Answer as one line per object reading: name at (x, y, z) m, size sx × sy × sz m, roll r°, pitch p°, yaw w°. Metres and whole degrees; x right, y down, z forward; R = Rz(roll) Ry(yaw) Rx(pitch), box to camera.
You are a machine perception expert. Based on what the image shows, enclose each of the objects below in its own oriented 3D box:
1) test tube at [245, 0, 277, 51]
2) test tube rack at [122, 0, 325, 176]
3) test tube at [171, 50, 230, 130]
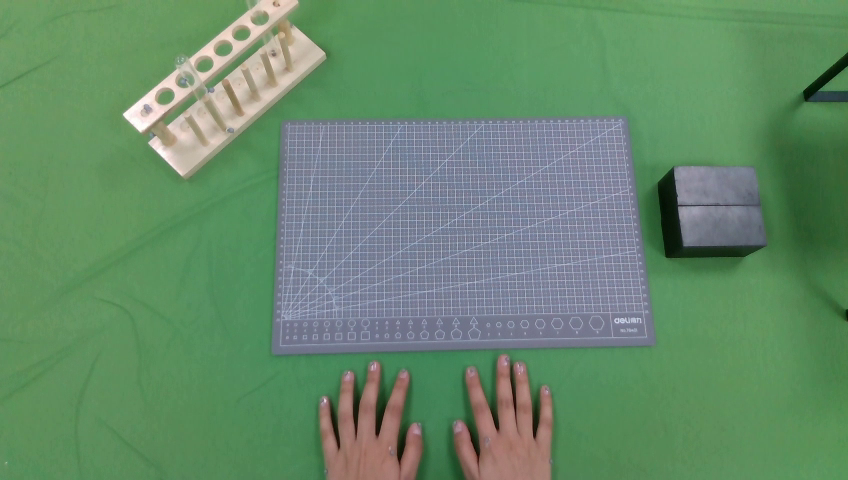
test tube at (-0.199, -0.275, 0.717) m, size 0.017 × 0.151 × 0.017 m, roll 0°, pitch 71°, yaw 2°
test tube rack at (-0.237, -0.196, 0.745) m, size 0.066 × 0.085 × 0.242 m, roll 43°, pitch 77°, yaw 10°
test tube at (-0.252, -0.167, 0.691) m, size 0.017 × 0.151 × 0.017 m, roll 0°, pitch 71°, yaw 1°
